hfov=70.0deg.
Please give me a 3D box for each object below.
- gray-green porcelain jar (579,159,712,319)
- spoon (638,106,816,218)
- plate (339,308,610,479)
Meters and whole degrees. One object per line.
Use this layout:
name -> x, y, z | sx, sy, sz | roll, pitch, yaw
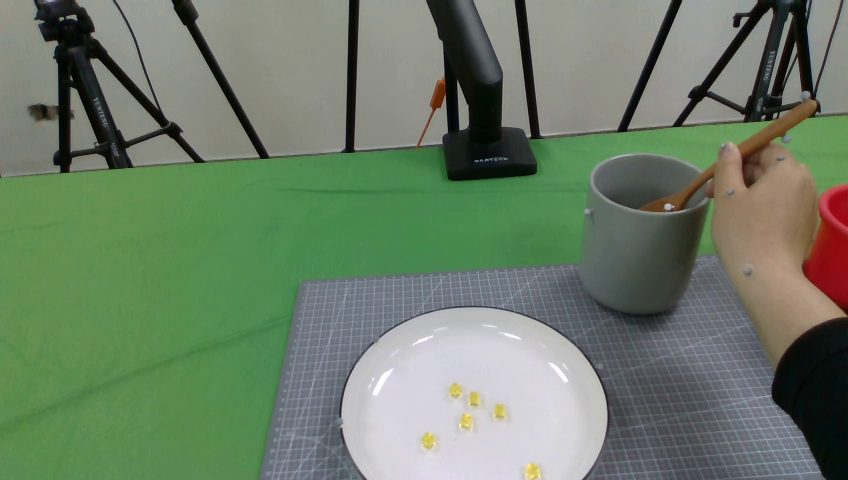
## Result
gray-green porcelain jar -> 0.204, 0.003, 0.575 | 0.106, 0.127, 0.105 | -3, 37, 2
spoon -> 0.234, -0.045, 0.503 | 0.022, 0.194, 0.041 | 17, 54, -15
plate -> 0.039, 0.138, 0.483 | 0.207, 0.039, 0.205 | -2, 37, 2
